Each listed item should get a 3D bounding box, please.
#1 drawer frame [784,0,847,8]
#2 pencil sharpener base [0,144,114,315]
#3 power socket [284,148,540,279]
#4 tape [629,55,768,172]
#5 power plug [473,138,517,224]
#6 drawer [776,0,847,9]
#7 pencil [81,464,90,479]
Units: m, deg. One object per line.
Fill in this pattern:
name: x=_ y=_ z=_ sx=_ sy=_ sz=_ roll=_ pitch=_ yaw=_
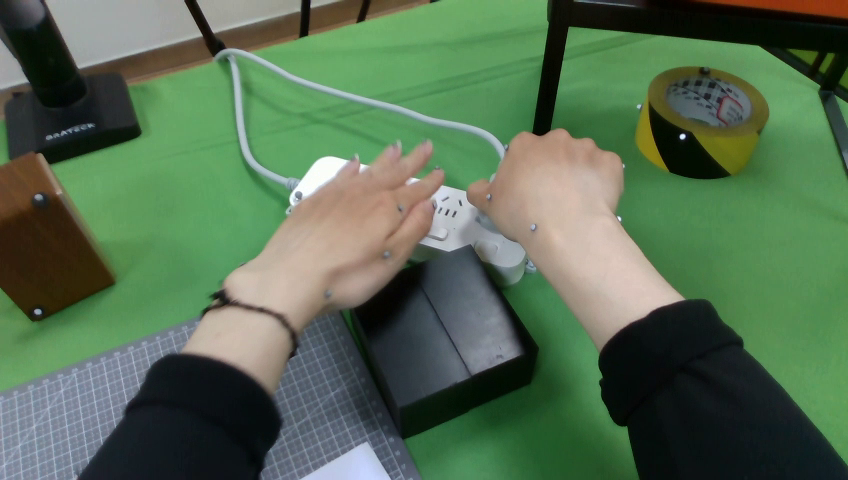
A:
drawer frame: x=0.274 y=-0.259 z=0.443 sx=0.201 sy=0.083 sz=0.212 roll=9 pitch=50 yaw=9
pencil sharpener base: x=-0.298 y=-0.005 z=0.456 sx=0.077 sy=0.108 sz=0.061 roll=-32 pitch=57 yaw=-22
power socket: x=-0.012 y=-0.026 z=0.518 sx=0.226 sy=0.033 sz=0.072 roll=16 pitch=51 yaw=14
tape: x=0.262 y=-0.123 z=0.583 sx=0.117 sy=0.053 sz=0.115 roll=0 pitch=51 yaw=1
power plug: x=0.067 y=-0.042 z=0.501 sx=0.035 sy=0.053 sz=0.072 roll=23 pitch=55 yaw=21
drawer: x=0.273 y=-0.254 z=0.440 sx=0.194 sy=0.074 sz=0.210 roll=10 pitch=50 yaw=10
pencil: x=-0.190 y=0.213 z=0.336 sx=0.012 sy=0.012 sz=0.192 roll=-16 pitch=49 yaw=-12
